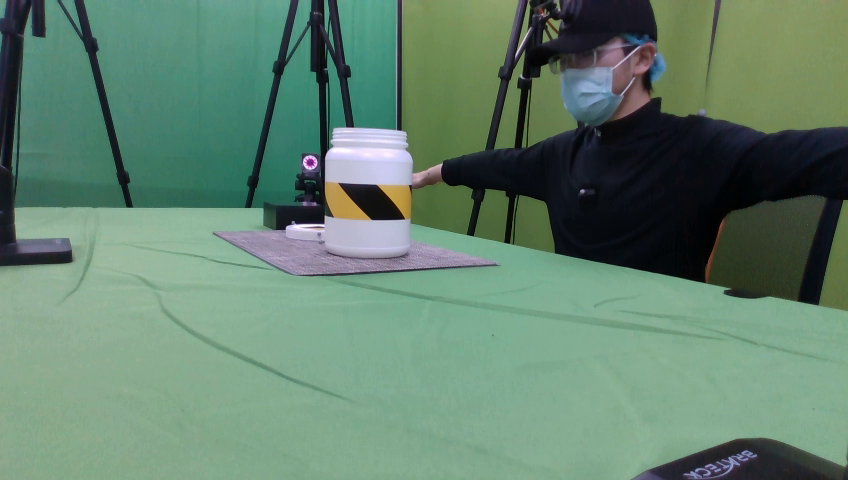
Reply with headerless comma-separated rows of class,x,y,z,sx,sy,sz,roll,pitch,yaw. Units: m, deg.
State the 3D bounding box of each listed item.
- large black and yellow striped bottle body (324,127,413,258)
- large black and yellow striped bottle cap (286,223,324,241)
large black and yellow striped bottle body,-0.083,-0.073,0.899,0.131,0.184,0.130,2,8,0
large black and yellow striped bottle cap,-0.187,-0.015,1.077,0.115,0.019,0.115,2,9,0
